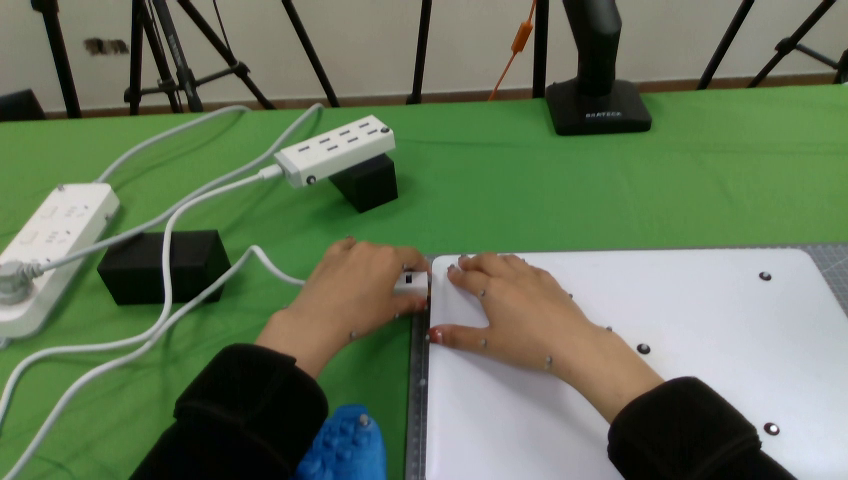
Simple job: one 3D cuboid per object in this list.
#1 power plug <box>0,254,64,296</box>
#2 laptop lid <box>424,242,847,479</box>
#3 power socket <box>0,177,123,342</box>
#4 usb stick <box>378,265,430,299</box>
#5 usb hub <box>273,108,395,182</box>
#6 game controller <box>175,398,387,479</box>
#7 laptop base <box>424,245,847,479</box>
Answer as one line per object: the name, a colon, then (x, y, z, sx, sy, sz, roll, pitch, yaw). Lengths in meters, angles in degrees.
power plug: (-0.365, 0.040, 0.558, 0.072, 0.053, 0.035, 9, 43, 10)
laptop lid: (0.178, 0.087, 0.495, 0.356, 0.013, 0.239, 0, 45, 4)
power socket: (-0.390, 0.008, 0.630, 0.072, 0.033, 0.224, 1, 43, 4)
usb stick: (-0.013, 0.039, 0.557, 0.059, 0.027, 0.021, 3, 41, -5)
usb hub: (-0.097, -0.105, 0.663, 0.125, 0.025, 0.049, -28, 49, -22)
game controller: (-0.102, 0.159, 0.435, 0.155, 0.052, 0.096, -2, 39, 2)
laptop base: (0.179, 0.095, 0.505, 0.354, 0.023, 0.233, -1, 46, 3)
